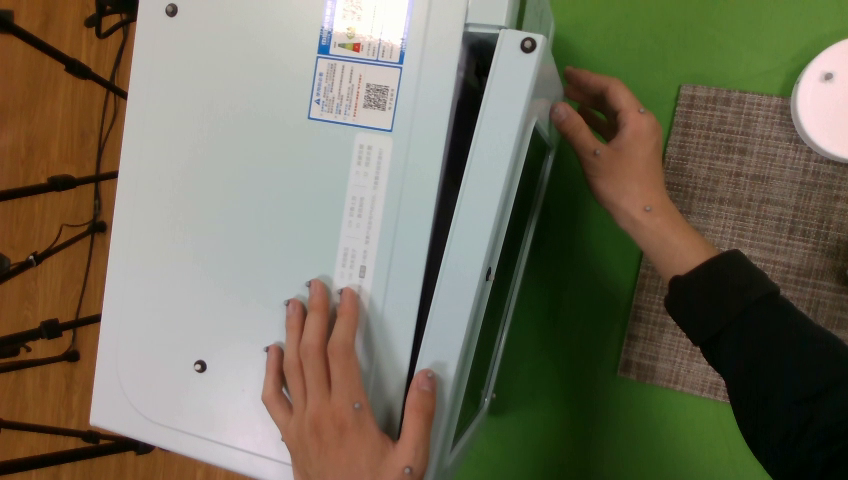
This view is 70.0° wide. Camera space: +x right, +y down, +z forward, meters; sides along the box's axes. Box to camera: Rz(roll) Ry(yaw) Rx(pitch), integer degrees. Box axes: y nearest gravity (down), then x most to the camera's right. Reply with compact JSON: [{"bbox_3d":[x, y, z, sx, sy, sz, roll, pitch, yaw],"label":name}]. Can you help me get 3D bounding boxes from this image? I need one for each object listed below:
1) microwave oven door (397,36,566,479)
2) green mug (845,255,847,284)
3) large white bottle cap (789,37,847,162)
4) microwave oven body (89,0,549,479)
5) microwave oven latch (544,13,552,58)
[{"bbox_3d":[0.055,0.033,0.529,0.039,0.244,0.356,15,96,16],"label":"microwave oven door"},{"bbox_3d":[0.424,0.043,0.507,0.092,0.105,0.125,-16,87,16],"label":"green mug"},{"bbox_3d":[0.399,-0.129,0.552,0.114,0.018,0.115,0,91,16],"label":"large white bottle cap"},{"bbox_3d":[-0.087,-0.037,0.573,0.325,0.261,0.442,11,95,15],"label":"microwave oven body"},{"bbox_3d":[0.110,-0.187,0.610,0.030,0.029,0.079,11,96,15],"label":"microwave oven latch"}]
